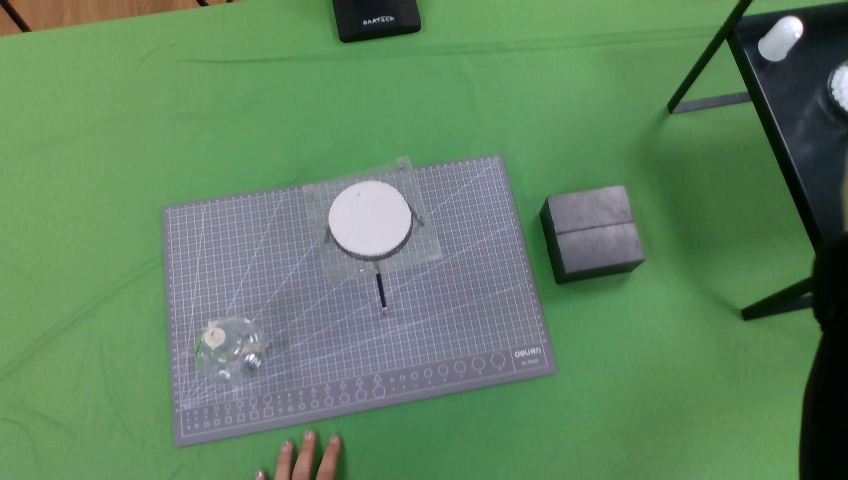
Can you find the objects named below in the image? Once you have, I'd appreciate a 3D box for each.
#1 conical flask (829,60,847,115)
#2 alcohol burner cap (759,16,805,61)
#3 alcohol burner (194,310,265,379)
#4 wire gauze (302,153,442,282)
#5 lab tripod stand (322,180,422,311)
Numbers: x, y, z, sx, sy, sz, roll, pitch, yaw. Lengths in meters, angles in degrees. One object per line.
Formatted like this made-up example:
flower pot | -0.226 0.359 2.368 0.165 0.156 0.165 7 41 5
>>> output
conical flask | 0.474 -0.178 0.601 0.075 0.122 0.075 1 71 -2
alcohol burner cap | 0.390 -0.220 0.654 0.034 0.048 0.033 0 72 -1
alcohol burner | -0.219 0.111 0.669 0.078 0.120 0.077 1 69 -2
wire gauze | -0.057 -0.025 0.640 0.125 0.011 0.120 -15 73 -8
lab tripod stand | -0.057 -0.005 0.704 0.148 0.132 0.147 1 69 -2
